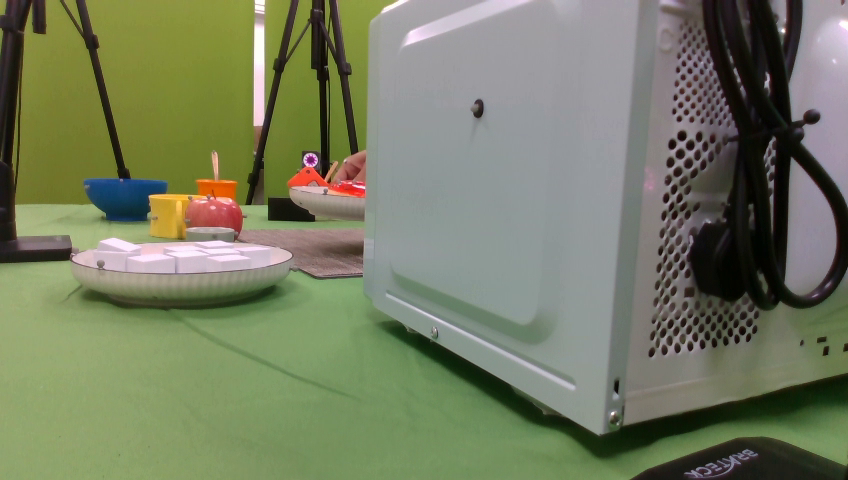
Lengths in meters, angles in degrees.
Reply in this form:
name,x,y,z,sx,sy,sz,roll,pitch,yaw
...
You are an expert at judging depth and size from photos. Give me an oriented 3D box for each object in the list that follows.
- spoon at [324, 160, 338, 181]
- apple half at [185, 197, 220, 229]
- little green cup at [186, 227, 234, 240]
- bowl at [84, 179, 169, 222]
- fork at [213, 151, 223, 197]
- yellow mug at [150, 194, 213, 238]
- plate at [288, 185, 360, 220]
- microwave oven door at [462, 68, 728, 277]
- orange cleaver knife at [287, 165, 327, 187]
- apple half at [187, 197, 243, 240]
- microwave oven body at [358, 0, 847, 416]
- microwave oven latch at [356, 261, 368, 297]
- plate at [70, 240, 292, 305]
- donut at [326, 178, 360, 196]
name,x,y,z,sx,sy,sz,roll,pitch,yaw
spoon,-0.257,-0.147,1.567,0.041,0.022,0.193,2,51,20
apple half,-0.338,-0.031,0.927,0.032,0.081,0.081,12,12,31
little green cup,-0.285,0.005,0.805,0.061,0.038,0.061,2,8,0
bowl,-0.584,-0.078,1.194,0.151,0.077,0.151,3,8,0
fork,-0.493,-0.143,1.442,0.028,0.018,0.206,-3,52,-18
yellow mug,-0.401,-0.040,1.003,0.100,0.064,0.130,-1,9,-20
plate,-0.100,-0.056,0.912,0.209,0.038,0.209,5,8,0
microwave oven door,0.205,-0.096,0.812,0.354,0.243,0.039,9,10,40
orange cleaver knife,-0.210,-0.093,1.382,0.212,0.077,0.012,33,1,-15
apple half,-0.305,-0.026,0.907,0.053,0.074,0.081,12,8,31
microwave oven body,0.210,-0.047,0.475,0.444,0.260,0.324,-1,7,-28
microwave oven latch,-0.020,0.033,0.531,0.079,0.029,0.030,-1,7,-27
plate,-0.242,0.031,0.618,0.208,0.039,0.207,2,8,0
donut,-0.100,-0.067,0.913,0.099,0.048,0.099,7,7,-1
